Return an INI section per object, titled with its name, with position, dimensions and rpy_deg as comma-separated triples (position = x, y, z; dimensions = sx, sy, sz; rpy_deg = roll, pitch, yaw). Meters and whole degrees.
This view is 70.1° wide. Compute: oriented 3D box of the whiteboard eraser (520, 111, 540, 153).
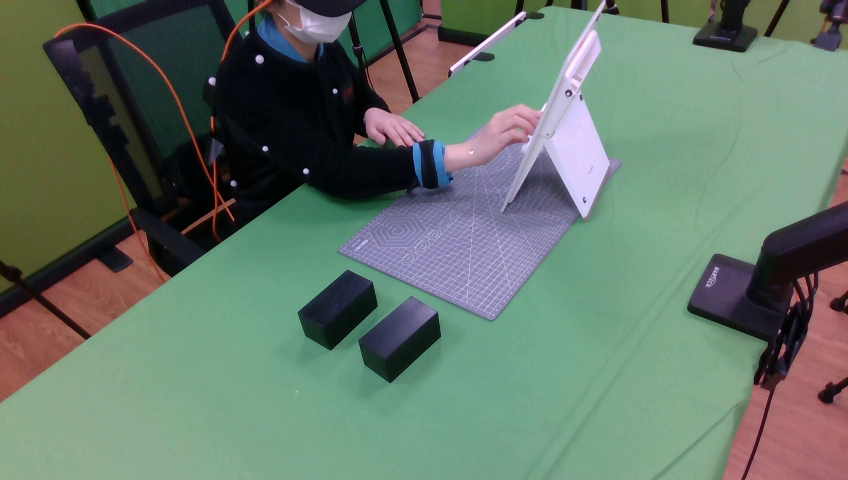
[whiteboard eraser]
position = 0.189, -0.187, 1.014
dimensions = 0.019, 0.041, 0.101
rpy_deg = 27, 71, 11

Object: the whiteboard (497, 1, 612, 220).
[whiteboard]
position = 0.259, -0.177, 0.963
dimensions = 0.143, 0.306, 0.217
rpy_deg = 28, 48, 9
